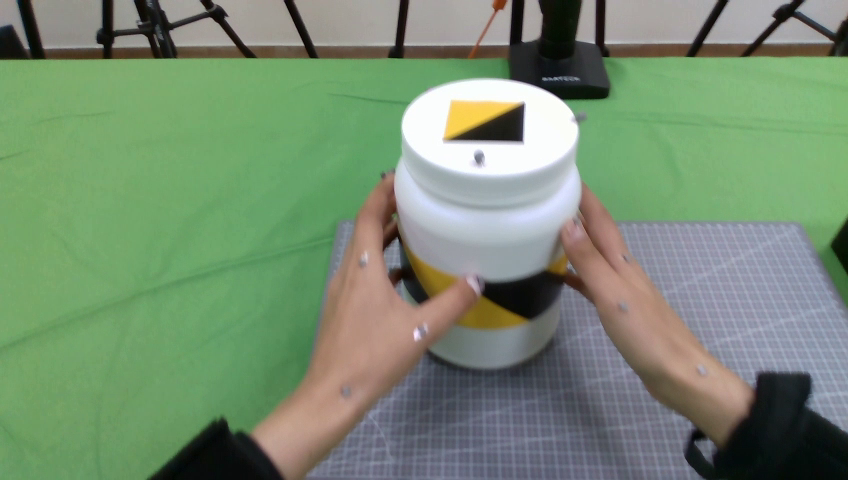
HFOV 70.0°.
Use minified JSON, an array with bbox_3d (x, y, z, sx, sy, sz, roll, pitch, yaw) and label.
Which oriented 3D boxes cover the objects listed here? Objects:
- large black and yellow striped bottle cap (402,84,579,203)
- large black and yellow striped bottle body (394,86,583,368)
[{"bbox_3d":[0.042,-0.066,0.392,0.115,0.019,0.114,-1,43,1],"label":"large black and yellow striped bottle cap"},{"bbox_3d":[0.045,-0.006,0.451,0.131,0.185,0.129,-1,44,1],"label":"large black and yellow striped bottle body"}]
